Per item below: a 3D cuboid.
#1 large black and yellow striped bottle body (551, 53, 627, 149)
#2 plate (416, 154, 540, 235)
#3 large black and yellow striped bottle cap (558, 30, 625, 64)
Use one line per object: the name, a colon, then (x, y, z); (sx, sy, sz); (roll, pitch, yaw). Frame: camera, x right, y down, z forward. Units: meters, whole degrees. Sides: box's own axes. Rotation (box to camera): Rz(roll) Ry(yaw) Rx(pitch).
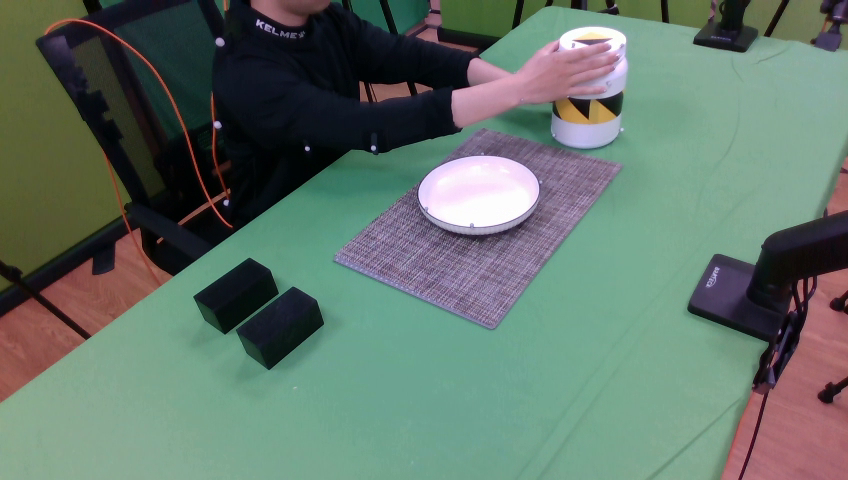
large black and yellow striped bottle body: (0.305, -0.278, 1.125); (0.131, 0.185, 0.130); (-4, 41, 4)
plate: (0.090, -0.074, 1.025); (0.207, 0.039, 0.206); (-4, 41, 4)
large black and yellow striped bottle cap: (0.295, -0.343, 1.068); (0.115, 0.019, 0.114); (-3, 39, 3)
